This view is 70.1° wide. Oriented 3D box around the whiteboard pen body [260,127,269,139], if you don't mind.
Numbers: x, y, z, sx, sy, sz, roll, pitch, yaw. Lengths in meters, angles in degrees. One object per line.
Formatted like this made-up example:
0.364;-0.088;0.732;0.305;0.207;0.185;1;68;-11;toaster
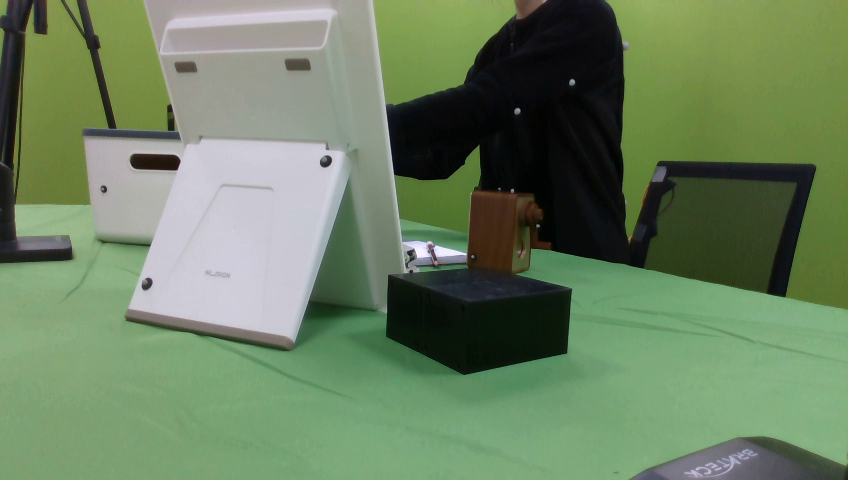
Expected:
-0.366;-0.247;1.392;0.017;0.017;0.140;0;3;-17;whiteboard pen body

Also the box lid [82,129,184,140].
-0.337;-0.161;1.012;0.263;0.015;0.372;3;6;11;box lid

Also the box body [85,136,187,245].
-0.340;-0.088;1.022;0.254;0.160;0.364;3;7;11;box body

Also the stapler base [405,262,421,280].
-0.069;0.026;0.759;0.130;0.024;0.041;9;14;23;stapler base

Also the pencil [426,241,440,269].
0.013;0.021;0.885;0.012;0.012;0.194;2;9;-3;pencil

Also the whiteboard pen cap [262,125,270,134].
-0.349;-0.244;1.337;0.018;0.018;0.033;0;2;-17;whiteboard pen cap

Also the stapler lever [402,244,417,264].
-0.066;0.002;0.754;0.117;0.040;0.027;9;14;23;stapler lever

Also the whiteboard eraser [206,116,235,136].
-0.450;-0.252;1.335;0.056;0.042;0.112;1;7;-22;whiteboard eraser

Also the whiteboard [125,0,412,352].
-0.151;-0.049;0.472;0.216;0.305;0.144;6;27;24;whiteboard

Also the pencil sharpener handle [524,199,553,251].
0.151;-0.019;0.782;0.030;0.068;0.036;8;23;33;pencil sharpener handle

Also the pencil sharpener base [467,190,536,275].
0.106;-0.012;0.808;0.076;0.107;0.061;8;8;33;pencil sharpener base
